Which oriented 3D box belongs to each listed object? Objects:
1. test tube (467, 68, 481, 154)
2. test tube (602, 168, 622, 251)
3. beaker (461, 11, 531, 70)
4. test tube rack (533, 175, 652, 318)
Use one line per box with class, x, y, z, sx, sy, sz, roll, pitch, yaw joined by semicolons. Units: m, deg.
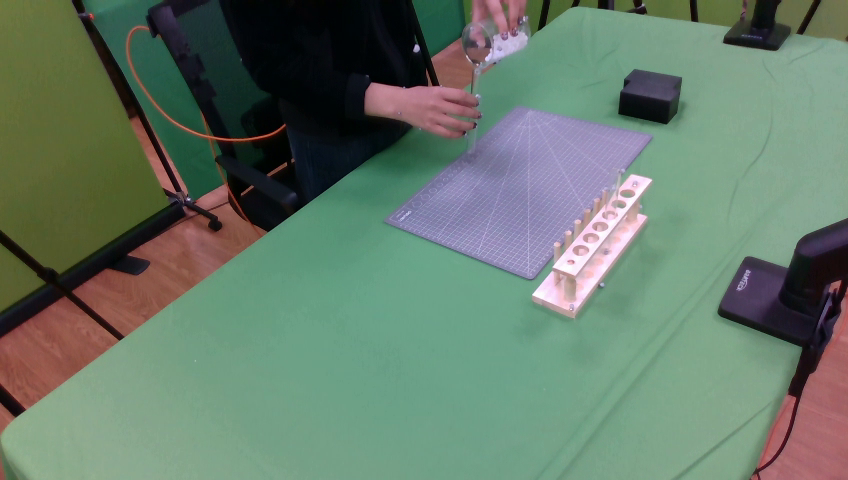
test tube;0.088;-0.224;1.058;0.017;0.151;0.017;2;25;-1
test tube;0.264;-0.039;0.853;0.017;0.151;0.017;-5;44;6
beaker;0.124;-0.339;1.024;0.101;0.084;0.073;-30;50;-29
test tube rack;0.251;-0.001;0.889;0.066;0.085;0.243;22;49;33
